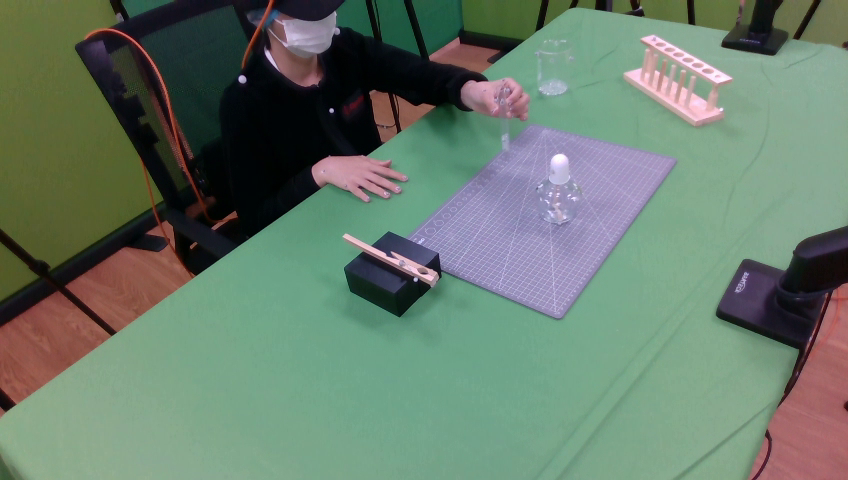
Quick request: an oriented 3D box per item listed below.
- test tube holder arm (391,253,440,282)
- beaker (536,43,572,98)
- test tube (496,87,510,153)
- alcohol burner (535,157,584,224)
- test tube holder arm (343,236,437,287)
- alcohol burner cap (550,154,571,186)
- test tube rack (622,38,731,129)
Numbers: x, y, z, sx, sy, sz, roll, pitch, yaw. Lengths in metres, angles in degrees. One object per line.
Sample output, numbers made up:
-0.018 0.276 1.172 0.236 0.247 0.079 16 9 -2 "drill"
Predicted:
-0.015 0.039 0.858 0.087 0.015 0.010 22 57 32 "test tube holder arm"
0.280 -0.368 1.311 0.074 0.101 0.084 4 41 14 "beaker"
0.138 -0.204 1.045 0.017 0.151 0.017 -6 54 8 "test tube"
0.217 -0.085 0.967 0.078 0.119 0.077 -3 41 3 "alcohol burner"
-0.053 0.028 0.879 0.177 0.015 0.013 22 57 32 "test tube holder arm"
0.212 -0.112 0.944 0.034 0.048 0.033 -6 44 7 "alcohol burner cap"
0.506 -0.325 1.234 0.067 0.085 0.240 -18 41 -11 "test tube rack"
